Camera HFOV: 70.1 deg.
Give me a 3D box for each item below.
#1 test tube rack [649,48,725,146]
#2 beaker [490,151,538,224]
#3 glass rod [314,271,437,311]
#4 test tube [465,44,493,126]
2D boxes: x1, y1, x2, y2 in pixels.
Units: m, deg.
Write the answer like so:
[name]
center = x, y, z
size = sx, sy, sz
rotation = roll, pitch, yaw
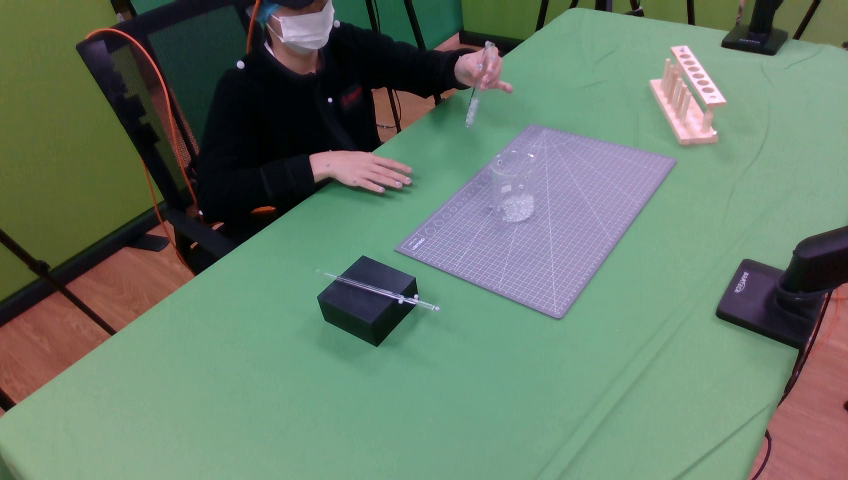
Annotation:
[test tube rack]
center = 0.508, -0.285, 1.186
size = 0.067, 0.085, 0.241
rotation = -4, 40, 6
[beaker]
center = 0.151, -0.084, 0.988
size = 0.084, 0.101, 0.073
rotation = -24, 43, -20
[glass rod]
center = -0.072, 0.068, 0.836
size = 0.198, 0.008, 0.008
rotation = 14, 44, 24
[test tube]
center = 0.092, -0.259, 1.026
size = 0.017, 0.150, 0.017
rotation = 8, 41, -6
